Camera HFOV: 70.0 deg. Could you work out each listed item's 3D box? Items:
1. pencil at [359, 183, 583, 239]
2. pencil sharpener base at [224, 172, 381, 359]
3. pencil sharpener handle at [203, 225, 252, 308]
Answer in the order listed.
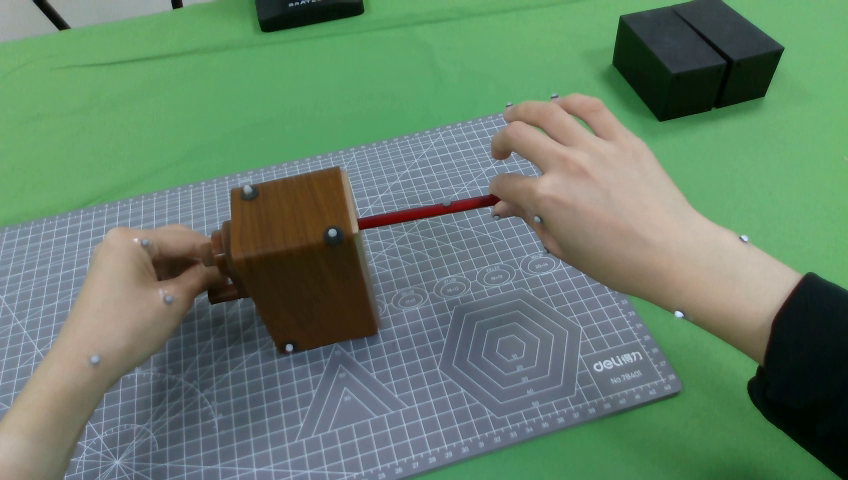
[{"bbox_3d":[0.005,-0.013,0.374,0.194,0.012,0.012,-11,48,-6],"label":"pencil"},{"bbox_3d":[-0.074,0.020,0.384,0.077,0.108,0.060,-12,49,-5],"label":"pencil sharpener base"},{"bbox_3d":[-0.125,0.021,0.371,0.031,0.068,0.035,-12,55,-5],"label":"pencil sharpener handle"}]
